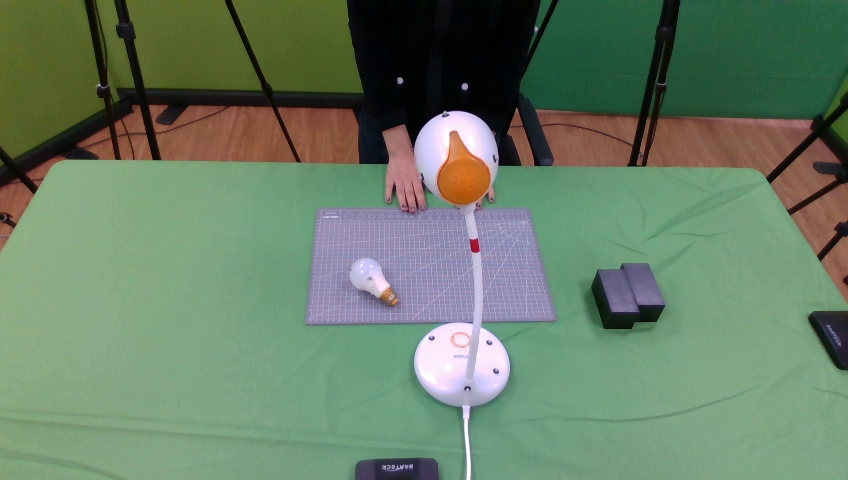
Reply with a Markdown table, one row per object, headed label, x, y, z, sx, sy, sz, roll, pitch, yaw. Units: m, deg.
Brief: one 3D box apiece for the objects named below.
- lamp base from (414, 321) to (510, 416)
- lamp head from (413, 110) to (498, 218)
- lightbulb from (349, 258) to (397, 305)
| label | x | y | z | sx | sy | sz | roll | pitch | yaw |
| --- | --- | --- | --- | --- | --- | --- | --- | --- | --- |
| lamp base | 0.069 | 0.159 | 0.942 | 0.161 | 0.181 | 0.178 | -4 | 49 | -8 |
| lamp head | 0.044 | -0.090 | 0.758 | 0.112 | 0.113 | 0.122 | -1 | 32 | -4 |
| lightbulb | -0.090 | 0.078 | 1.095 | 0.107 | 0.060 | 0.059 | 43 | 56 | 12 |
